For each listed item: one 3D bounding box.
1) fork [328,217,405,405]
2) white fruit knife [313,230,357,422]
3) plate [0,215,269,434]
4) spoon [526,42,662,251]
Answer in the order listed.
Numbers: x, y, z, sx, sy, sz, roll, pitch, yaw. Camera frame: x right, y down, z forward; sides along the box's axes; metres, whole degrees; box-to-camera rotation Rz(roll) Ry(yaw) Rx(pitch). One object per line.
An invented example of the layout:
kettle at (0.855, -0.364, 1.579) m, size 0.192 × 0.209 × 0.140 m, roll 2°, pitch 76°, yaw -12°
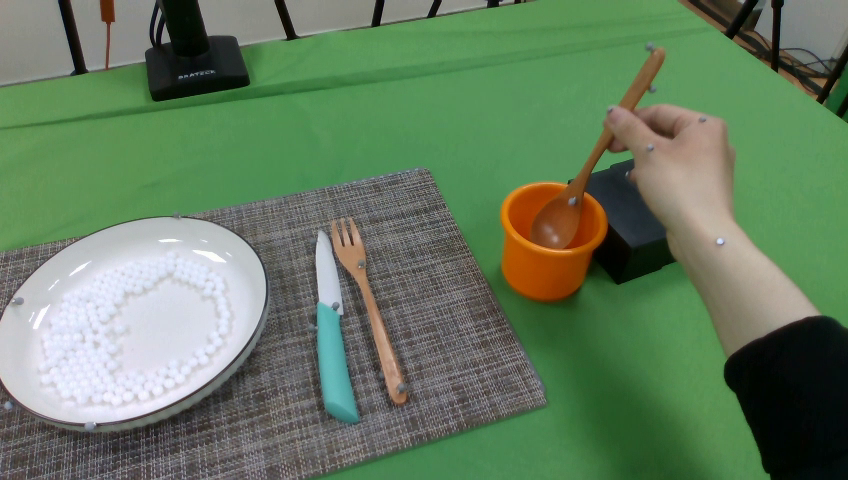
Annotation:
fork at (-0.051, 0.052, 0.526) m, size 0.028 × 0.019 × 0.205 m, roll -5°, pitch 44°, yaw -22°
white fruit knife at (-0.083, 0.062, 0.521) m, size 0.027 × 0.016 × 0.205 m, roll 16°, pitch 37°, yaw -29°
plate at (-0.231, 0.065, 0.498) m, size 0.209 × 0.038 × 0.207 m, roll 1°, pitch 46°, yaw 0°
spoon at (0.140, -0.071, 0.502) m, size 0.041 × 0.194 × 0.022 m, roll 41°, pitch 35°, yaw 23°
